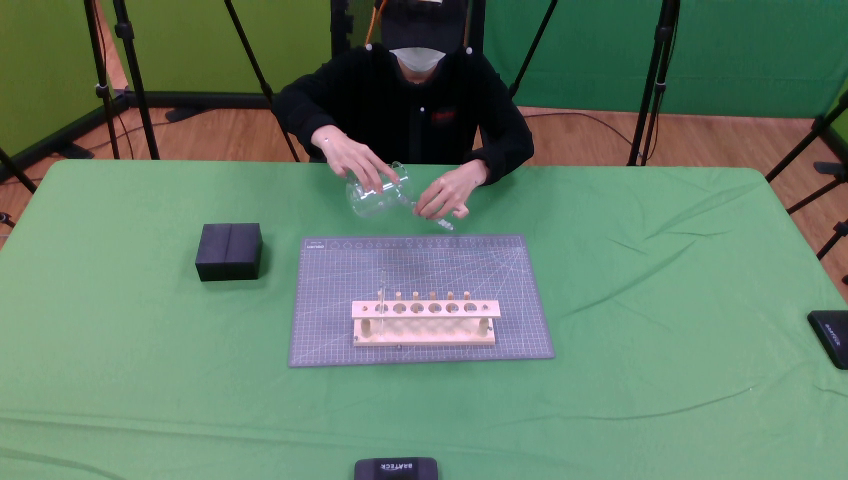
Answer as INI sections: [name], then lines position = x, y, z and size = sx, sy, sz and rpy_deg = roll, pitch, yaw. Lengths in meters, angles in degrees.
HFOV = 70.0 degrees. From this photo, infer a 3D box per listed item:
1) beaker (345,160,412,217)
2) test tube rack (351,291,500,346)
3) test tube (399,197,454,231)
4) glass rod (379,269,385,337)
[beaker]
position = -0.082, -0.087, 1.071
size = 0.100, 0.084, 0.073
rpy_deg = -25, 39, -24
[test tube rack]
position = 0.000, 0.129, 1.026
size = 0.242, 0.085, 0.066
rpy_deg = 0, 46, -4
[test tube]
position = 0.008, -0.048, 1.162
size = 0.151, 0.017, 0.017
rpy_deg = 27, 28, -43
[glass rod]
position = -0.066, 0.104, 0.953
size = 0.008, 0.200, 0.008
rpy_deg = 3, 53, -3
